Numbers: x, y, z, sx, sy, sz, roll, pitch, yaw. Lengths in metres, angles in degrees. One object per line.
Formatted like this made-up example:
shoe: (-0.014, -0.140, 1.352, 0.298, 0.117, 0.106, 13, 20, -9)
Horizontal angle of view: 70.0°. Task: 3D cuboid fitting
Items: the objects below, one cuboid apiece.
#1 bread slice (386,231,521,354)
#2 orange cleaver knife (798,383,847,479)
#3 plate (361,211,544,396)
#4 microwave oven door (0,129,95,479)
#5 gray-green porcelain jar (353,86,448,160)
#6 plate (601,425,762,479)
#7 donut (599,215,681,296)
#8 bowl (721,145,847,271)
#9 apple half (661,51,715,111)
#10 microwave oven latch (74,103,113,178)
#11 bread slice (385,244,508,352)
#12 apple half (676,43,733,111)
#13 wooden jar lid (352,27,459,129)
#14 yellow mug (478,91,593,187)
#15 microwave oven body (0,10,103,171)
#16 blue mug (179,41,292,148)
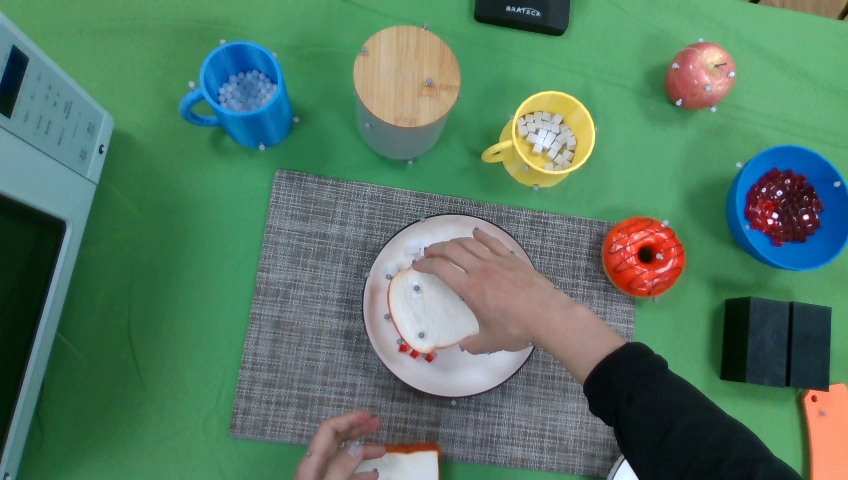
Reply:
bread slice: (0.027, 0.065, 0.662, 0.134, 0.018, 0.106, -24, 83, -12)
orange cleaver knife: (0.486, 0.278, 0.734, 0.077, 0.012, 0.210, 10, 79, -12)
plate: (0.032, 0.072, 0.693, 0.208, 0.039, 0.207, 1, 81, -7)
microwave oven door: (-0.394, 0.087, 0.519, 0.039, 0.244, 0.354, 12, 80, -5)
gray-green porcelain jar: (-0.026, -0.153, 0.678, 0.106, 0.126, 0.105, 1, 81, -7)
plate: (0.292, 0.317, 0.694, 0.209, 0.038, 0.208, 1, 81, -7)
donut: (0.258, 0.019, 0.726, 0.099, 0.048, 0.098, 1, 83, -7)
bowl: (0.423, -0.032, 0.741, 0.151, 0.077, 0.151, 1, 82, -6)
apple half: (0.317, -0.189, 0.751, 0.033, 0.081, 0.081, -25, 85, -14)
microwave oven latch: (-0.362, -0.109, 0.655, 0.030, 0.029, 0.079, 14, 81, -5)
bread slice: (0.023, 0.072, 0.693, 0.132, 0.019, 0.104, -18, 84, -9)
apple half: (0.351, -0.206, 0.760, 0.053, 0.075, 0.080, -24, 81, -15)
wooden jar lid: (-0.019, -0.163, 0.617, 0.108, 0.021, 0.108, 1, 79, -7)
yellow mug: (0.128, -0.114, 0.722, 0.131, 0.064, 0.099, -15, 84, -8)
microwave oven body: (-0.529, 0.017, 0.517, 0.327, 0.260, 0.440, 12, 81, -6)
blue mug: (-0.208, -0.151, 0.665, 0.117, 0.106, 0.082, -17, 84, -9)
